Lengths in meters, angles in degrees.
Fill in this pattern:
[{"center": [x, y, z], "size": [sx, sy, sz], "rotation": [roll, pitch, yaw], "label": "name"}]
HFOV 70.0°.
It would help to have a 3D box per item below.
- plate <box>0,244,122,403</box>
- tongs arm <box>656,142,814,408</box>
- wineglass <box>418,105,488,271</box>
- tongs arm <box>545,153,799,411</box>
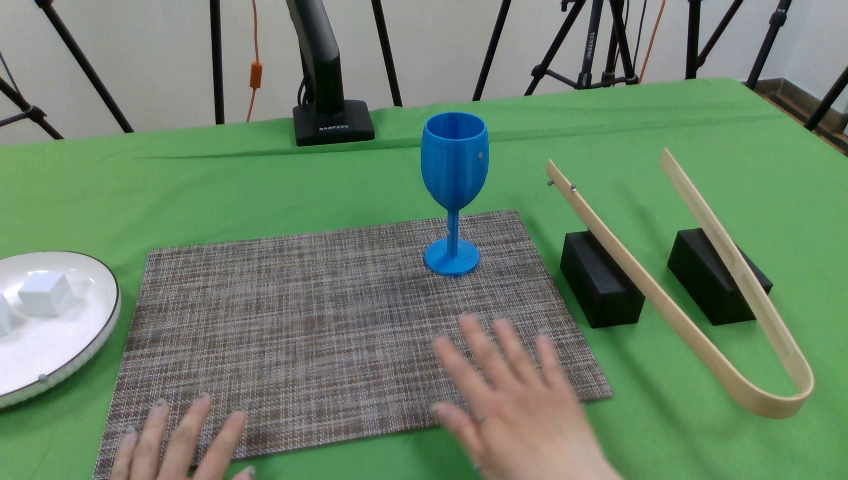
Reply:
[{"center": [-0.406, 0.083, 0.597], "size": [0.209, 0.038, 0.207], "rotation": [0, 39, 0], "label": "plate"}, {"center": [0.302, 0.005, 0.627], "size": [0.028, 0.028, 0.383], "rotation": [3, 39, -4], "label": "tongs arm"}, {"center": [0.030, -0.052, 0.651], "size": [0.074, 0.174, 0.073], "rotation": [0, 40, 0], "label": "wineglass"}, {"center": [0.222, 0.015, 0.616], "size": [0.051, 0.027, 0.380], "rotation": [-8, 40, -12], "label": "tongs arm"}]
